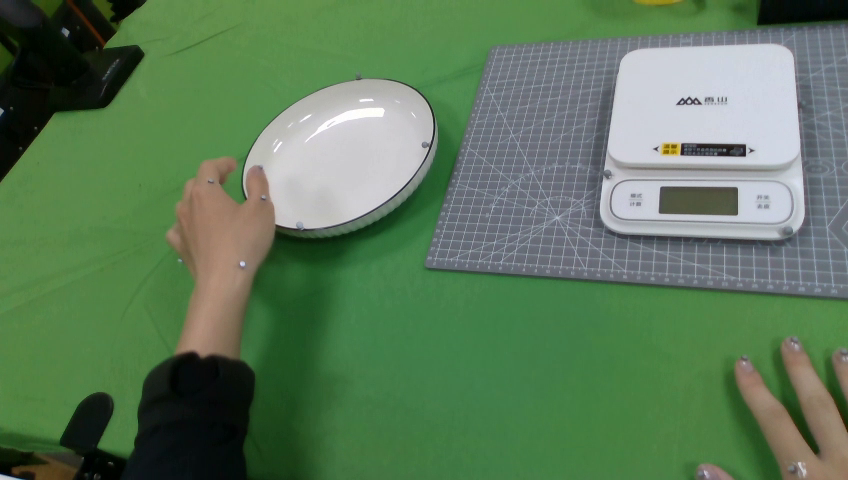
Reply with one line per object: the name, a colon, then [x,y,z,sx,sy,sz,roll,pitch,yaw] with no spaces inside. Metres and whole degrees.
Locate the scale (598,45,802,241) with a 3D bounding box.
scale: [0.231,-0.088,0.516,0.148,0.032,0.199,2,56,22]

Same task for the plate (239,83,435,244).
plate: [-0.087,-0.077,0.621,0.209,0.038,0.207,-9,52,13]

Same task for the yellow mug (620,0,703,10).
yellow mug: [0.262,-0.298,0.646,0.100,0.064,0.129,-32,51,-5]
